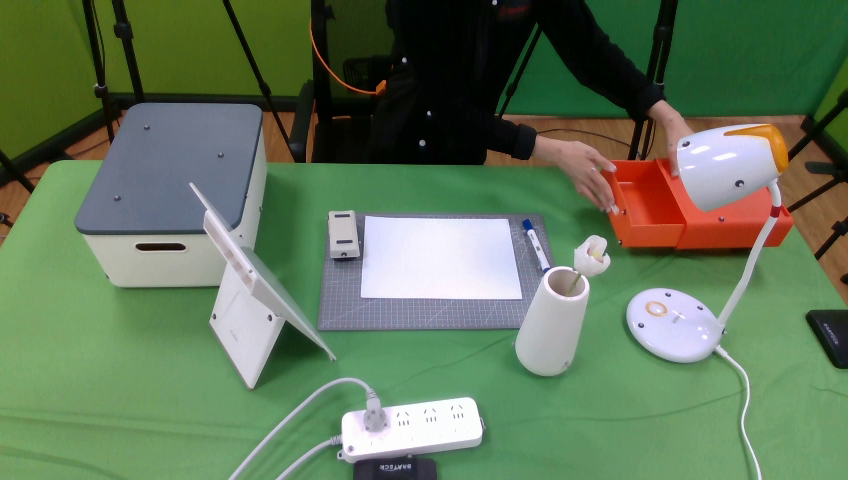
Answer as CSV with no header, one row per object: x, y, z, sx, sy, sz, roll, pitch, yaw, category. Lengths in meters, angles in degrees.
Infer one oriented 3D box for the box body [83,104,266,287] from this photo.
-0.446,-0.088,1.150,0.254,0.161,0.361,-1,46,-5,box body

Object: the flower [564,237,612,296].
0.206,0.088,0.892,0.038,0.363,0.044,-17,67,-9,flower

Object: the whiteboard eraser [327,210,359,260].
-0.158,-0.009,1.177,0.055,0.042,0.112,-6,47,-7,whiteboard eraser

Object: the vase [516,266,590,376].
0.208,0.132,0.964,0.098,0.201,0.097,3,46,-3,vase

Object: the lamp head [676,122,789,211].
0.423,-0.104,0.819,0.122,0.113,0.112,-13,33,40,lamp head

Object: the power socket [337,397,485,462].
-0.018,0.285,0.915,0.227,0.033,0.071,-5,46,-8,power socket

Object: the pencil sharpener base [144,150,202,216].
-0.493,-0.113,1.199,0.061,0.107,0.076,15,46,12,pencil sharpener base

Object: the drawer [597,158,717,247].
0.473,-0.077,1.209,0.212,0.073,0.193,1,45,-6,drawer

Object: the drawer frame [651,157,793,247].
0.578,-0.079,1.215,0.214,0.083,0.200,-1,45,-4,drawer frame

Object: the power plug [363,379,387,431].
-0.072,0.252,0.910,0.035,0.053,0.072,3,44,-1,power plug

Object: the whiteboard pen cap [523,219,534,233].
0.214,-0.027,1.239,0.018,0.018,0.033,-5,45,-9,whiteboard pen cap

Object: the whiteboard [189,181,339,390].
-0.292,0.096,0.929,0.144,0.307,0.216,-37,57,-10,whiteboard

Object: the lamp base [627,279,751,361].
0.459,0.100,1.027,0.178,0.181,0.160,27,51,17,lamp base

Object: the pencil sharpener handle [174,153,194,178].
-0.479,-0.156,1.225,0.036,0.068,0.030,24,47,2,pencil sharpener handle

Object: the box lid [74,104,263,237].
-0.443,-0.139,1.095,0.263,0.015,0.369,-1,45,-5,box lid

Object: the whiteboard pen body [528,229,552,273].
0.225,0.013,1.197,0.017,0.017,0.140,-5,45,-9,whiteboard pen body

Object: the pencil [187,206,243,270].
-0.401,-0.008,1.176,0.012,0.012,0.193,15,44,10,pencil
